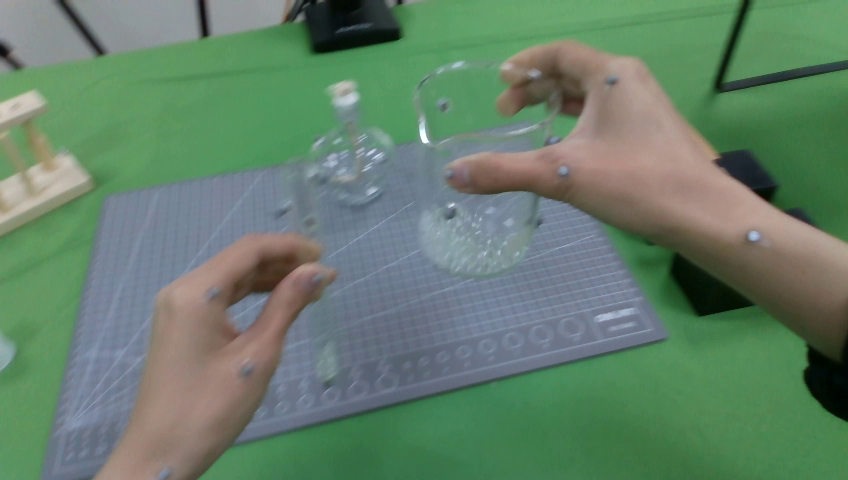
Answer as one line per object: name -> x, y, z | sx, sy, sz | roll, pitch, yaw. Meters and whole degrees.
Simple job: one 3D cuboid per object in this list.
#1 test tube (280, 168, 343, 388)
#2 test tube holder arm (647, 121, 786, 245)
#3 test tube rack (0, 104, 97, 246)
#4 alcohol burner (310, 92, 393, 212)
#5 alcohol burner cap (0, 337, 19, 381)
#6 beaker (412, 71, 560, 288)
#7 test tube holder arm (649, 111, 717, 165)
test tube -> -0.058, 0.028, 0.323 | 0.017, 0.151, 0.017 | 0, 39, 1
test tube holder arm -> 0.238, -0.055, 0.507 | 0.015, 0.013, 0.176 | -7, 42, -13
test tube rack -> -0.442, -0.026, 0.546 | 0.242, 0.086, 0.066 | -36, 53, -28
alcohol burner -> -0.068, -0.084, 0.555 | 0.078, 0.120, 0.077 | -1, 46, 1
alcohol burner cap -> -0.337, 0.084, 0.461 | 0.034, 0.048, 0.033 | -1, 44, 2
beaker -> 0.029, -0.029, 0.332 | 0.073, 0.101, 0.084 | 26, 48, 28
test tube holder arm -> 0.228, -0.088, 0.536 | 0.015, 0.010, 0.087 | -7, 43, -13
